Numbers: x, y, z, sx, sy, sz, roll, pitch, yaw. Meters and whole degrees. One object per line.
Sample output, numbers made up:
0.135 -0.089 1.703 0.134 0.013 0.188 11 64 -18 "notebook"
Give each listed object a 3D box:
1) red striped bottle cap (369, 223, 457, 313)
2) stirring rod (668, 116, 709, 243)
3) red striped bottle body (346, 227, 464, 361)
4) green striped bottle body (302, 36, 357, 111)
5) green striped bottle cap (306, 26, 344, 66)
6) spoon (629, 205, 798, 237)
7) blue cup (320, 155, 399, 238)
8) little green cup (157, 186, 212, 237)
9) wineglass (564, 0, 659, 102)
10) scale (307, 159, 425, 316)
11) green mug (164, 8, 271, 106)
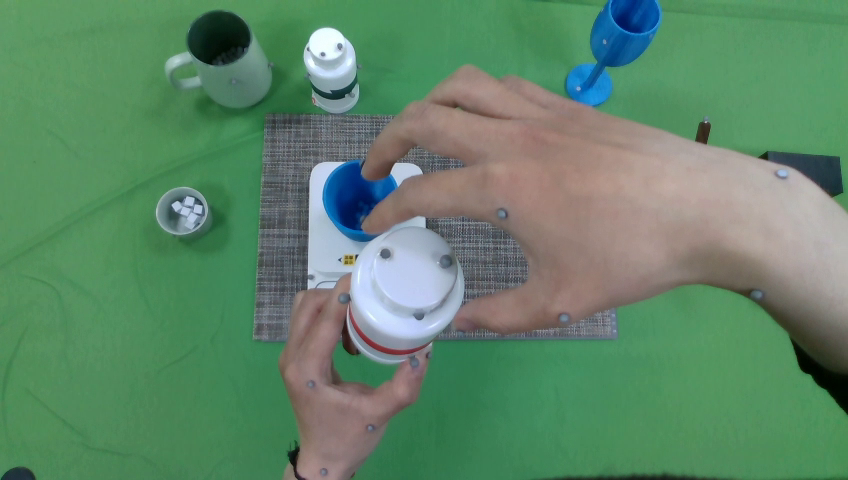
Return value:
-0.005 0.013 0.307 0.044 0.018 0.044 3 70 -8 "red striped bottle cap"
0.325 -0.070 0.749 0.014 0.177 0.006 5 36 11 "stirring rod"
-0.014 0.032 0.359 0.063 0.120 0.062 3 70 -8 "red striped bottle body"
-0.119 -0.218 0.770 0.063 0.119 0.063 1 76 -3 "green striped bottle body"
-0.117 -0.231 0.719 0.044 0.020 0.044 1 76 -3 "green striped bottle cap"
0.345 -0.019 0.739 0.022 0.192 0.041 20 81 -43 "spoon"
-0.074 -0.042 0.707 0.093 0.100 0.092 1 79 -5 "blue cup"
-0.296 -0.034 0.758 0.061 0.039 0.061 1 77 -4 "little green cup"
0.232 -0.244 0.770 0.074 0.173 0.073 1 76 -2 "wineglass"
-0.072 -0.006 0.766 0.149 0.031 0.200 -1 78 -3 "scale"
-0.264 -0.224 0.770 0.125 0.105 0.092 -22 79 -8 "green mug"
